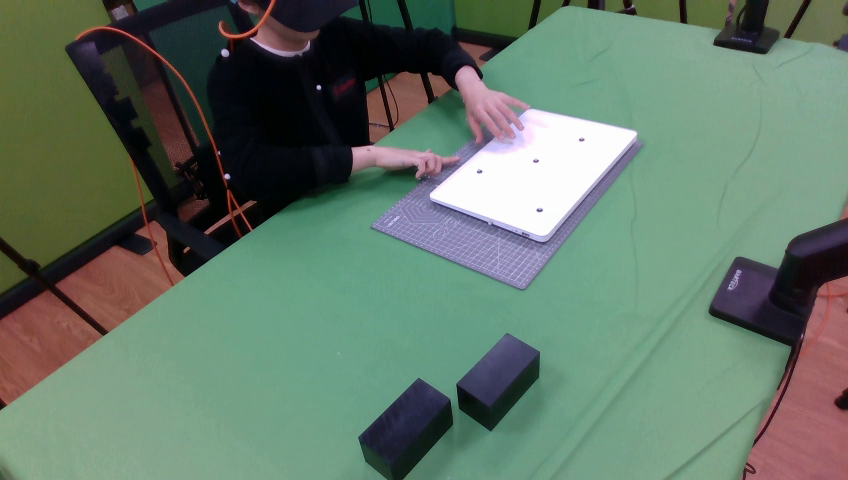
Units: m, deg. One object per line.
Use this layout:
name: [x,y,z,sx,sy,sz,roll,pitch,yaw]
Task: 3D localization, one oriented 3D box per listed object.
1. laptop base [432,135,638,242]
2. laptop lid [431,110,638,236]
laptop base: [0.208,-0.129,1.098,0.233,0.023,0.355,20,47,34]
laptop lid: [0.205,-0.138,1.092,0.239,0.013,0.358,23,49,34]
